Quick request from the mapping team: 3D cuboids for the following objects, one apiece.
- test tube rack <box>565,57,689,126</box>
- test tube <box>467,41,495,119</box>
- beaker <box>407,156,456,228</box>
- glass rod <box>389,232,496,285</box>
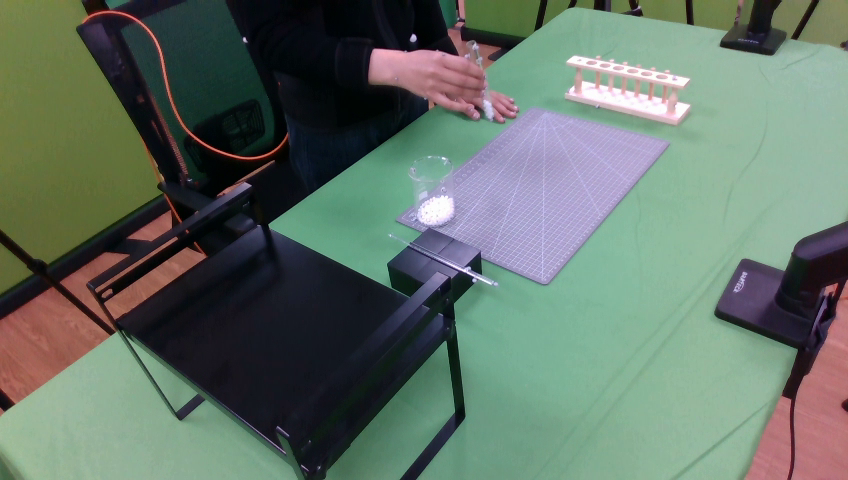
[{"bbox_3d":[0.411,-0.311,1.230,0.240,0.085,0.067,23,49,32],"label":"test tube rack"},{"bbox_3d":[0.094,-0.257,0.985,0.017,0.151,0.017,-11,49,13],"label":"test tube"},{"bbox_3d":[0.017,-0.079,1.002,0.073,0.101,0.084,25,49,33],"label":"beaker"},{"bbox_3d":[0.022,0.025,0.878,0.198,0.008,0.008,25,50,33],"label":"glass rod"}]
